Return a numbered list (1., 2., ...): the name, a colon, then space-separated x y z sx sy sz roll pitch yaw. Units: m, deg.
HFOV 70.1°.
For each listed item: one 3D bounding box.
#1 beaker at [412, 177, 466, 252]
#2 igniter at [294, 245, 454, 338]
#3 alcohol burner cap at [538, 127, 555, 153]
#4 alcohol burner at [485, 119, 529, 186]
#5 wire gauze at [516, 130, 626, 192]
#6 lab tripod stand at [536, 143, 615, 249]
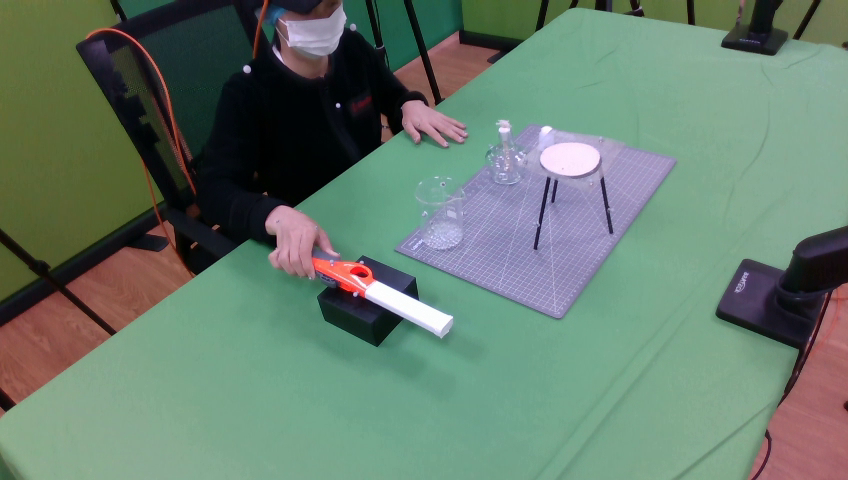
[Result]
1. beaker: 0.029 -0.038 0.952 0.083 0.101 0.074 9 43 18
2. igniter: -0.079 0.065 0.834 0.274 0.025 0.057 23 44 28
3. alcohol burner cap: 0.234 -0.191 1.147 0.034 0.048 0.033 -5 40 5
4. alcohol burner: 0.146 -0.157 1.064 0.078 0.119 0.077 -6 39 5
5. wire gauze: 0.216 -0.124 0.892 0.124 0.011 0.122 22 49 31
6. lab tripod stand: 0.224 -0.069 0.931 0.148 0.132 0.147 -4 42 4
